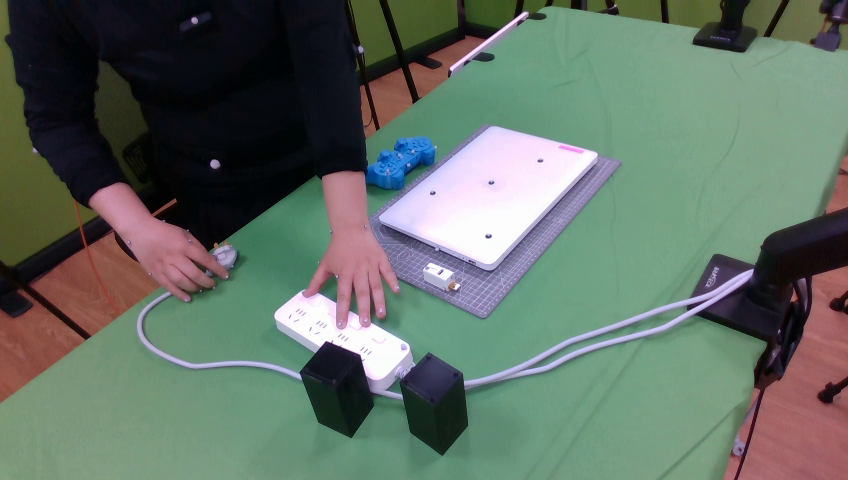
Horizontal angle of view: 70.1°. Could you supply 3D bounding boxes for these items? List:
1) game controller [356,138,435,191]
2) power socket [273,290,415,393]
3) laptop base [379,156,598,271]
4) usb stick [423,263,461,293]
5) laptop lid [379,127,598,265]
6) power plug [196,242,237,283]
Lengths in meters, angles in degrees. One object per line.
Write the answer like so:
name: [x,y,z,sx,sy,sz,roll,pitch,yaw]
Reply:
game controller: [-0.049,-0.150,1.136,0.096,0.052,0.155,27,51,28]
power socket: [-0.115,0.133,0.820,0.225,0.033,0.072,24,47,32]
laptop base: [0.120,-0.085,1.054,0.233,0.023,0.355,21,48,34]
usb stick: [0.028,0.058,0.889,0.059,0.027,0.021,25,47,29]
laptop lid: [0.117,-0.095,1.048,0.239,0.013,0.358,23,49,34]
power plug: [-0.336,0.031,0.968,0.073,0.035,0.052,-19,58,-30]
